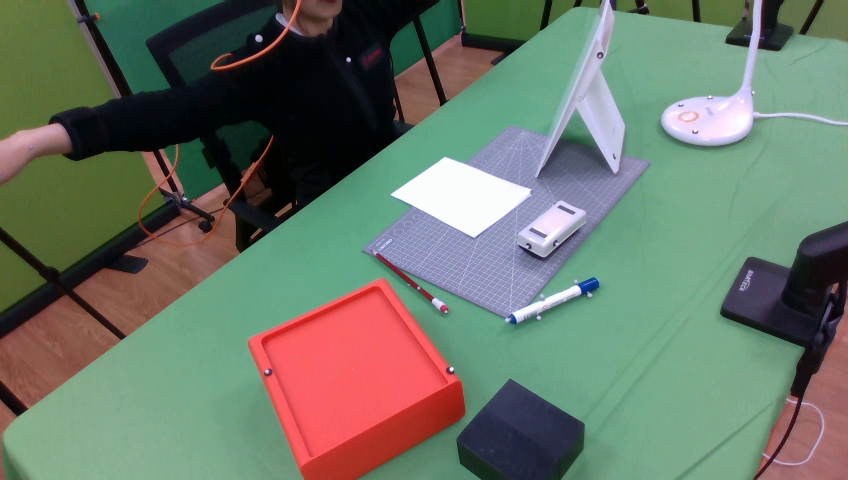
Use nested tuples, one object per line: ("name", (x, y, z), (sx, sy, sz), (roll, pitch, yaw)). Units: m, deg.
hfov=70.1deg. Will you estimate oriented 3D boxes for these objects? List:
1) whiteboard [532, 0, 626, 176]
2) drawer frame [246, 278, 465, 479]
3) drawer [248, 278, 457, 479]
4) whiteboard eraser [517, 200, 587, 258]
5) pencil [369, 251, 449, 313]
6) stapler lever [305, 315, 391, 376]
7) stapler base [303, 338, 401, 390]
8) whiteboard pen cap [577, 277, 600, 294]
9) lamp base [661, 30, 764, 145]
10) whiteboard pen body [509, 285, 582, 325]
("whiteboard", (0.321, -0.258, 1.049), (0.144, 0.306, 0.217), (21, 45, 5))
("drawer frame", (-0.088, 0.168, 0.752), (0.202, 0.083, 0.211), (-24, 43, -18))
("drawer", (-0.092, 0.168, 0.756), (0.195, 0.073, 0.210), (-24, 43, -18))
("whiteboard eraser", (0.200, -0.016, 0.943), (0.113, 0.042, 0.055), (-37, 46, -29))
("pencil", (-0.029, 0.060, 0.924), (0.012, 0.012, 0.192), (-33, 46, -25))
("stapler lever", (-0.100, 0.136, 0.790), (0.118, 0.040, 0.026), (-23, 43, -12))
("stapler base", (-0.096, 0.160, 0.813), (0.131, 0.024, 0.041), (-16, 42, -18))
("whiteboard pen cap", (0.233, 0.066, 0.864), (0.033, 0.018, 0.018), (-20, 41, -17))
("lamp base", (0.535, -0.287, 1.096), (0.179, 0.181, 0.159), (-10, 40, -4))
("whiteboard pen body", (0.181, 0.086, 0.845), (0.141, 0.017, 0.017), (-21, 42, -17))
